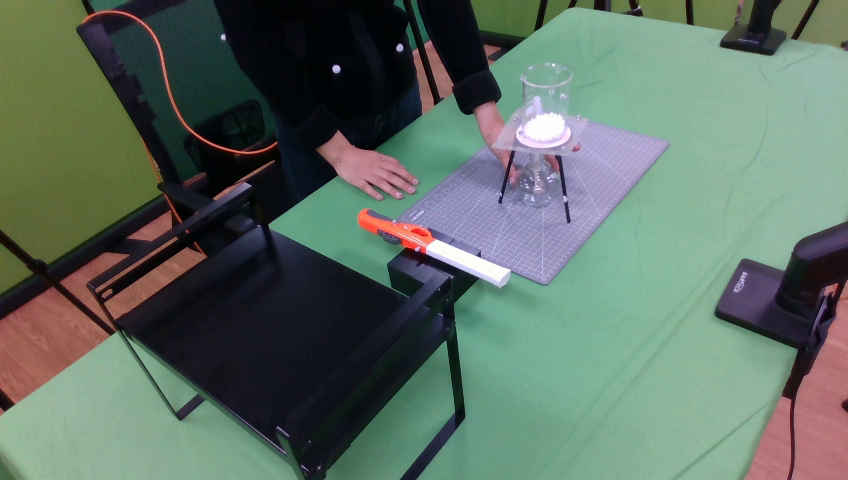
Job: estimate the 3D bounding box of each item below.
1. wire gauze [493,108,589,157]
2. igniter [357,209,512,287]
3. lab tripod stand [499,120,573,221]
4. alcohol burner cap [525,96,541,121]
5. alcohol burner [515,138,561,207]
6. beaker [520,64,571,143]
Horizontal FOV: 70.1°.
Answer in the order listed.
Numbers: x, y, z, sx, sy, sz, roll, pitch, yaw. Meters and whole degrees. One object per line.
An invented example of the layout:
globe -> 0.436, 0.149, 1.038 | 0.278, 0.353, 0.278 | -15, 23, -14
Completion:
wire gauze -> 0.185, -0.169, 0.954 | 0.121, 0.011, 0.125 | 13, 46, 22
igniter -> 0.004, 0.006, 0.891 | 0.274, 0.025, 0.057 | 23, 37, 30
lab tripod stand -> 0.198, -0.116, 0.992 | 0.148, 0.132, 0.147 | -3, 41, 3
alcohol burner cap -> 0.225, -0.273, 1.243 | 0.034, 0.048, 0.033 | -3, 41, 3
alcohol burner -> 0.189, -0.116, 1.008 | 0.078, 0.119, 0.077 | -6, 39, 5
beaker -> 0.187, -0.208, 0.924 | 0.073, 0.101, 0.084 | 23, 49, 30
